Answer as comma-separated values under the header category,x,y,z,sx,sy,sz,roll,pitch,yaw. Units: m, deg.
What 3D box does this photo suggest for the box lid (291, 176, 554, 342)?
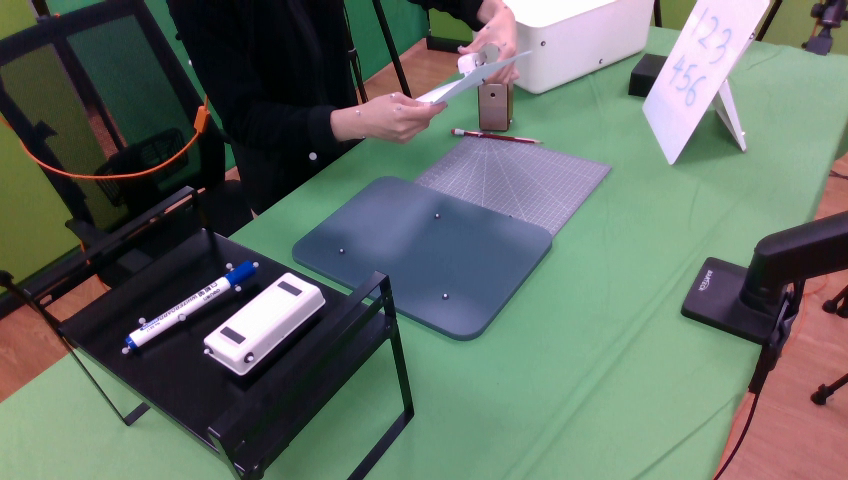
category,x,y,z,sx,sy,sz,roll,pitch,yaw
box lid,-0.005,0.011,0.972,0.368,0.015,0.264,21,49,30

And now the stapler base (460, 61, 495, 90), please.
category,x,y,z,sx,sy,sz,roll,pitch,yaw
stapler base,0.089,-0.286,1.030,0.041,0.024,0.130,-8,24,21

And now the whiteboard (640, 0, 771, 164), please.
category,x,y,z,sx,sy,sz,roll,pitch,yaw
whiteboard,0.543,-0.299,1.076,0.144,0.305,0.216,12,40,-7

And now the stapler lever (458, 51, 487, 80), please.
category,x,y,z,sx,sy,sz,roll,pitch,yaw
stapler lever,0.082,-0.304,1.023,0.026,0.040,0.118,-8,29,21

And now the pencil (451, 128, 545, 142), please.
category,x,y,z,sx,sy,sz,roll,pitch,yaw
pencil,0.145,-0.208,1.204,0.193,0.012,0.012,11,43,20

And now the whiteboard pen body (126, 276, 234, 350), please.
category,x,y,z,sx,sy,sz,roll,pitch,yaw
whiteboard pen body,-0.251,0.070,0.649,0.141,0.017,0.017,-36,48,-26

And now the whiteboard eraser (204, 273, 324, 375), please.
category,x,y,z,sx,sy,sz,roll,pitch,yaw
whiteboard eraser,-0.157,0.084,0.605,0.055,0.042,0.113,24,49,30

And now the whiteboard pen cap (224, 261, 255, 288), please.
category,x,y,z,sx,sy,sz,roll,pitch,yaw
whiteboard pen cap,-0.207,0.039,0.677,0.033,0.018,0.018,-36,47,-18

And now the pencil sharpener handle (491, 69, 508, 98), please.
category,x,y,z,sx,sy,sz,roll,pitch,yaw
pencil sharpener handle,0.155,-0.329,1.254,0.036,0.068,0.030,17,43,3

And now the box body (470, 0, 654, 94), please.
category,x,y,z,sx,sy,sz,roll,pitch,yaw
box body,0.319,-0.498,1.405,0.365,0.161,0.252,-26,43,-21

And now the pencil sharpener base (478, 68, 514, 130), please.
category,x,y,z,sx,sy,sz,roll,pitch,yaw
pencil sharpener base,0.148,-0.286,1.225,0.061,0.107,0.076,5,41,15
